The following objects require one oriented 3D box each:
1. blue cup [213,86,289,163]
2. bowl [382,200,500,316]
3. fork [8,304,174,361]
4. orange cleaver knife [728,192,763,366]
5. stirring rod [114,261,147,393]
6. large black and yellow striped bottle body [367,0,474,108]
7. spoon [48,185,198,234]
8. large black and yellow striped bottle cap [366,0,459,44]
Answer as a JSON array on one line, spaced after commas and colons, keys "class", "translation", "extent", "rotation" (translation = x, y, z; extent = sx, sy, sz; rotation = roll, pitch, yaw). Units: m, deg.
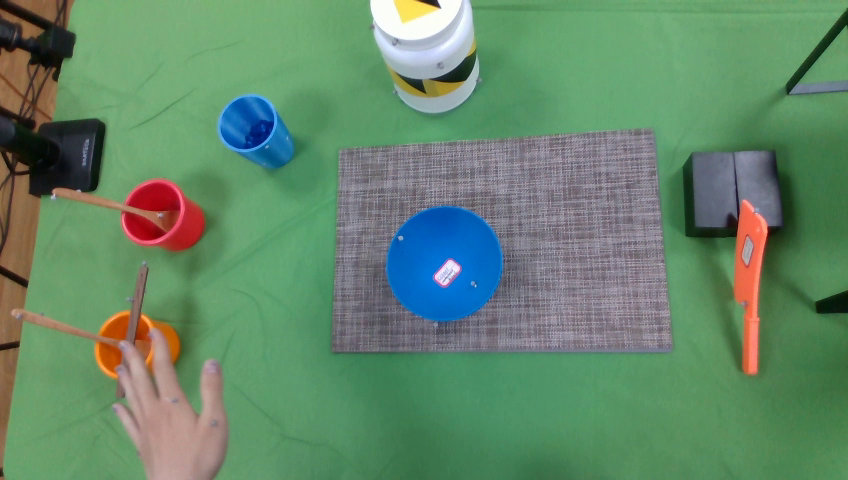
[{"class": "blue cup", "translation": [-0.241, -0.155, 0.875], "extent": [0.092, 0.101, 0.092], "rotation": [-1, 78, 7]}, {"class": "bowl", "translation": [0.026, 0.030, 0.800], "extent": [0.151, 0.077, 0.150], "rotation": [-2, 77, 8]}, {"class": "fork", "translation": [-0.444, 0.125, 0.817], "extent": [0.209, 0.018, 0.028], "rotation": [25, 88, -31]}, {"class": "orange cleaver knife", "translation": [0.389, 0.049, 0.740], "extent": [0.012, 0.077, 0.212], "rotation": [-5, 106, 4]}, {"class": "stirring rod", "translation": [-0.392, 0.114, 0.809], "extent": [0.014, 0.006, 0.175], "rotation": [3, 78, 7]}, {"class": "large black and yellow striped bottle body", "translation": [-0.003, -0.277, 0.824], "extent": [0.130, 0.185, 0.130], "rotation": [-2, 76, 8]}, {"class": "spoon", "translation": [-0.421, -0.048, 0.857], "extent": [0.195, 0.021, 0.041], "rotation": [18, 75, -32]}, {"class": "large black and yellow striped bottle cap", "translation": [-0.015, -0.297, 0.743], "extent": [0.115, 0.019, 0.114], "rotation": [-2, 78, 10]}]
